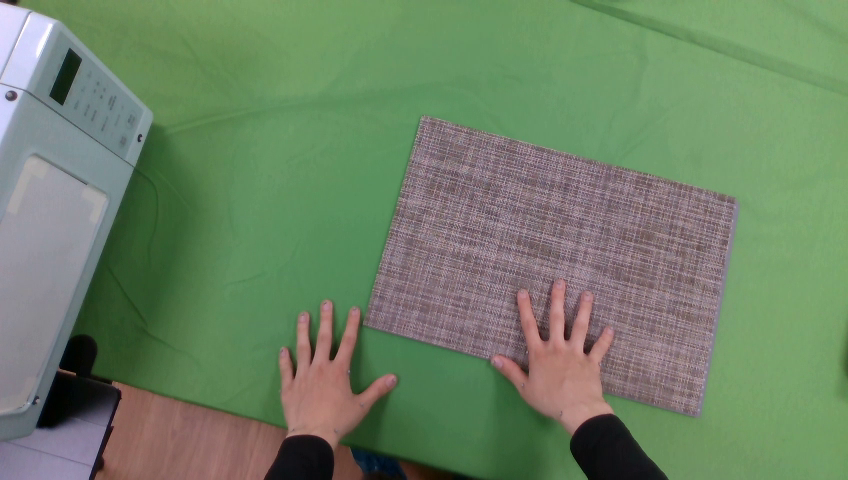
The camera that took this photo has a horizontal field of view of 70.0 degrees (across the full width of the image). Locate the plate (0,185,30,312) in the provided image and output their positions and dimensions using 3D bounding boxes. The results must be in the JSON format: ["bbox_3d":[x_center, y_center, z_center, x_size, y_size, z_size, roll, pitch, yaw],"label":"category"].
[{"bbox_3d":[-0.568,0.015,0.713,0.209,0.038,0.208,1,82,-4],"label":"plate"}]

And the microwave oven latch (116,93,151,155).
[{"bbox_3d":[-0.382,-0.153,0.787,0.030,0.029,0.079,18,81,0],"label":"microwave oven latch"}]

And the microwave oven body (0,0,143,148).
[{"bbox_3d":[-0.570,-0.041,0.664,0.326,0.261,0.440,16,81,0],"label":"microwave oven body"}]

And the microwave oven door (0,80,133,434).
[{"bbox_3d":[-0.440,0.037,0.652,0.039,0.244,0.354,15,80,1],"label":"microwave oven door"}]
